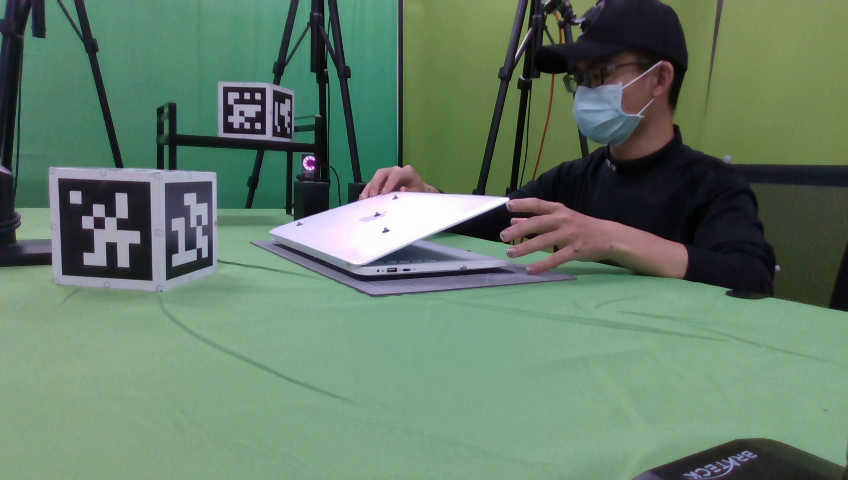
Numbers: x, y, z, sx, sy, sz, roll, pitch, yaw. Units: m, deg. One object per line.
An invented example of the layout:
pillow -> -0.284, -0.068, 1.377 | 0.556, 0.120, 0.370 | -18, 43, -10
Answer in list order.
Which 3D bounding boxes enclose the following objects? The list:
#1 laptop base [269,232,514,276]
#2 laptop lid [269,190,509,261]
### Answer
laptop base -> -0.066, 0.017, 0.893 | 0.237, 0.023, 0.352 | 1, 6, -32
laptop lid -> -0.069, -0.033, 0.883 | 0.243, 0.013, 0.355 | -20, 17, -26
